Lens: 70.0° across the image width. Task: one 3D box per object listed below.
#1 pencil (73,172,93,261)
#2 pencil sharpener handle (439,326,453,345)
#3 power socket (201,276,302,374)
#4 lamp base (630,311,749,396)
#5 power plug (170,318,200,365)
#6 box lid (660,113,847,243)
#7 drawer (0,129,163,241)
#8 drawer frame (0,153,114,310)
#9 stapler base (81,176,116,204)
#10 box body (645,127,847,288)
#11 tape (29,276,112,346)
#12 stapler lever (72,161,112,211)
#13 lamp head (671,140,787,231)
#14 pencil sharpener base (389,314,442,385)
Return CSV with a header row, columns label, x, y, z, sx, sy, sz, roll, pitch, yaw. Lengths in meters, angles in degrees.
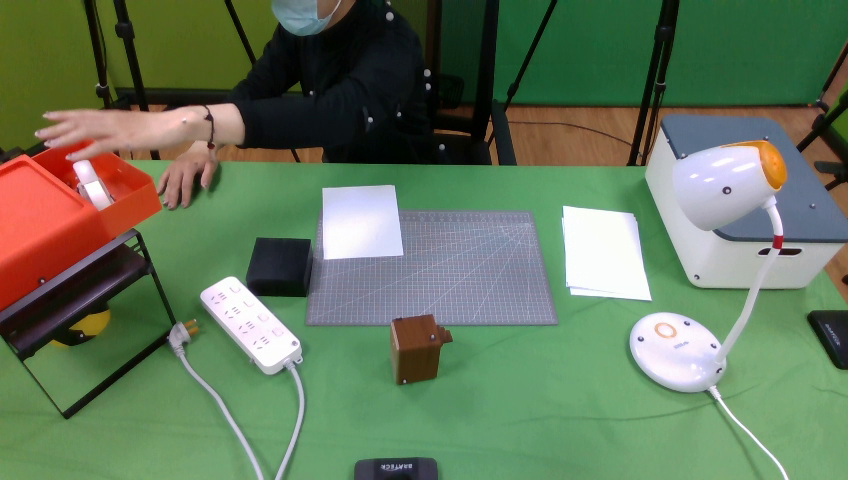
label,x,y,z,sx,sy,sz,roll,pitch,yaw
pencil,-0.533,-0.047,0.943,0.012,0.012,0.193,-16,61,-18
pencil sharpener handle,0.036,0.155,0.975,0.031,0.068,0.036,-8,70,-11
power socket,-0.297,0.141,1.034,0.072,0.033,0.225,-34,58,-30
lamp base,0.447,0.143,0.983,0.161,0.181,0.178,-24,55,-24
power plug,-0.393,0.167,1.015,0.052,0.035,0.072,-30,92,-23
box lid,0.628,-0.132,1.170,0.263,0.015,0.369,1,46,-3
drawer,-0.552,-0.061,0.928,0.193,0.073,0.211,31,52,22
drawer frame,-0.606,-0.009,0.872,0.201,0.083,0.213,30,52,22
stapler base,-0.517,-0.065,0.965,0.041,0.024,0.130,-31,58,-22
box body,0.625,-0.080,1.222,0.254,0.161,0.361,0,46,-3
tape,-0.595,0.118,1.021,0.117,0.053,0.116,3,44,-2
stapler lever,-0.516,-0.081,0.946,0.027,0.040,0.117,-31,57,-22
lamp head,0.415,-0.078,0.811,0.113,0.123,0.112,13,70,-37
pencil sharpener base,-0.013,0.175,0.971,0.077,0.107,0.061,-8,47,-11
